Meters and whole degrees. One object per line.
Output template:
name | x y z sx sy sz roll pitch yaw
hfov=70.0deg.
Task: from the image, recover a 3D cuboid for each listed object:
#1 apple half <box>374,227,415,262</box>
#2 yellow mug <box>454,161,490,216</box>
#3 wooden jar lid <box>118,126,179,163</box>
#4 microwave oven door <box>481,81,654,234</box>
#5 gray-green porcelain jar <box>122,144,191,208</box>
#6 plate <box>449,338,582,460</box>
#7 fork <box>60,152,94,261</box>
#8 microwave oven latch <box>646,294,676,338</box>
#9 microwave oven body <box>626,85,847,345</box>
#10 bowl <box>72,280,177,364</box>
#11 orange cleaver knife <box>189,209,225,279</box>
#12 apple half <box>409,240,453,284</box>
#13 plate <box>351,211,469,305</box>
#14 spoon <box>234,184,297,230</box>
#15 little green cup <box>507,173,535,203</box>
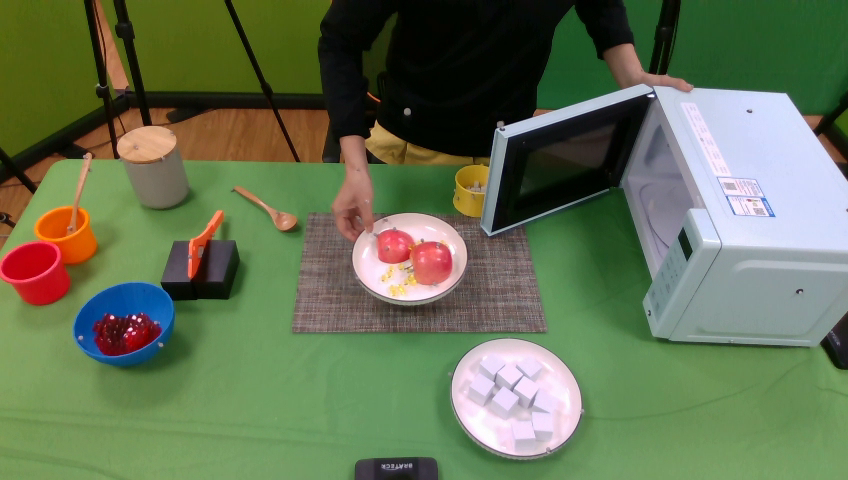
apple half | -0.053 0.001 1.102 0.081 0.033 0.081 4 54 -5
yellow mug | 0.117 -0.118 1.284 0.100 0.064 0.130 10 44 4
wooden jar lid | -0.528 -0.181 1.167 0.108 0.021 0.107 3 47 -4
microwave oven door | 0.281 -0.163 1.192 0.356 0.245 0.039 -21 51 -22
gray-green porcelain jar | -0.531 -0.137 1.214 0.106 0.127 0.105 2 47 -2
plate | 0.141 0.251 0.955 0.208 0.039 0.206 2 46 -2
fork | -0.638 -0.063 1.120 0.028 0.018 0.207 12 90 6
microwave oven latch | 0.412 0.133 1.060 0.030 0.029 0.078 3 46 0
microwave oven body | 0.568 -0.054 1.116 0.326 0.261 0.439 2 46 -1
bowl | -0.472 0.147 0.982 0.151 0.077 0.150 2 46 -2
orange cleaver knife | -0.400 0.002 1.122 0.012 0.077 0.210 4 23 -4
apple half | 0.014 0.031 1.064 0.075 0.053 0.080 -3 48 -7
plate | -0.024 0.034 1.081 0.209 0.038 0.208 1 49 0
spoon | -0.327 -0.073 1.239 0.193 0.022 0.041 34 71 25
little green cup | 0.206 -0.111 1.302 0.061 0.039 0.061 2 48 -2
